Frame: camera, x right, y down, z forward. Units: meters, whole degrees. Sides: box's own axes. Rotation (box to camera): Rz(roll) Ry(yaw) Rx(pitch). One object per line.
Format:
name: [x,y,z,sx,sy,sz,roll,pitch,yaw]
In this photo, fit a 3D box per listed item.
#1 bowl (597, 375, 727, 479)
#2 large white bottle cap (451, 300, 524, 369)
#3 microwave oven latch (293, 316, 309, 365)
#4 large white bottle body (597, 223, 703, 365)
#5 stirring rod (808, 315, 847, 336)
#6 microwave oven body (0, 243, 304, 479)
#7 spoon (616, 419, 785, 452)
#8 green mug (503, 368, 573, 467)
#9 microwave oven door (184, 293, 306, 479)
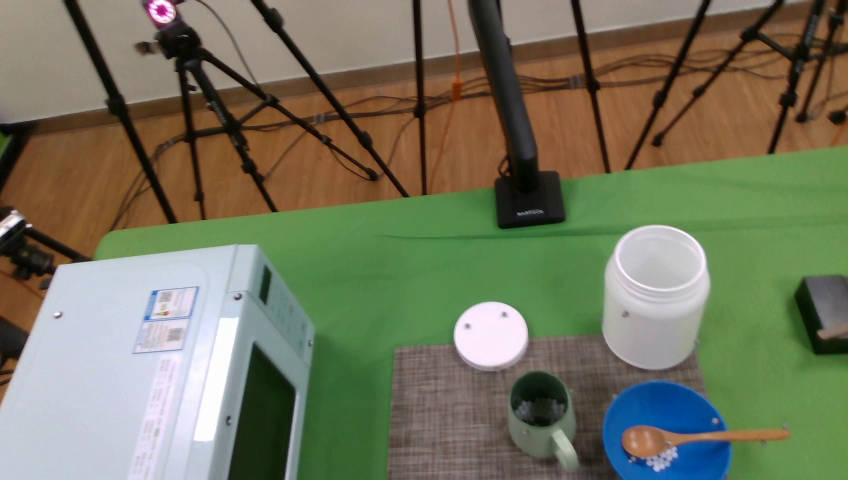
bowl: [0.298,0.258,0.776,0.151,0.077,0.150,-6,53,9]
large white bottle cap: [0.098,0.145,0.942,0.115,0.018,0.113,-6,52,8]
microwave oven latch: [-0.201,0.161,0.968,0.030,0.030,0.078,-6,54,8]
large white bottle body: [0.310,0.075,0.840,0.130,0.186,0.129,-7,50,8]
stirring rod: [0.605,0.097,0.814,0.176,0.006,0.014,-18,59,2]
microwave oven body: [-0.364,0.264,0.808,0.326,0.263,0.437,-6,54,8]
spoon: [0.335,0.237,0.747,0.193,0.022,0.041,-15,51,32]
green mug: [0.158,0.241,0.804,0.092,0.106,0.124,-27,53,-8]
microwave oven door: [-0.221,0.277,0.759,0.039,0.246,0.352,-7,53,8]
